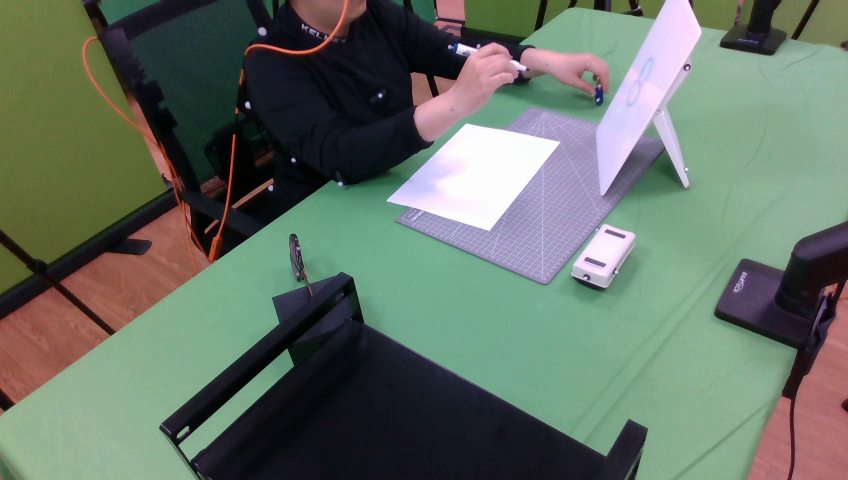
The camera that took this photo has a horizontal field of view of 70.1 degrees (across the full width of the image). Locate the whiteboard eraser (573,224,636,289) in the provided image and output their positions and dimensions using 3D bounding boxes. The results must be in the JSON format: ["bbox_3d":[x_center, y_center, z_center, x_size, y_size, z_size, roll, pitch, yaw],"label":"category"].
[{"bbox_3d":[0.267,0.025,0.891,0.055,0.042,0.113,19,47,31],"label":"whiteboard eraser"}]

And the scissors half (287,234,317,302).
[{"bbox_3d":[-0.179,0.040,0.885,0.013,0.040,0.173,-11,36,-20],"label":"scissors half"}]

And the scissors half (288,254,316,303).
[{"bbox_3d":[-0.178,0.058,0.894,0.013,0.040,0.174,-16,21,-17],"label":"scissors half"}]

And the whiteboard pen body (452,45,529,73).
[{"bbox_3d":[0.116,-0.308,1.036,0.141,0.017,0.017,13,39,-13],"label":"whiteboard pen body"}]

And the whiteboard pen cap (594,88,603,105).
[{"bbox_3d":[0.364,-0.297,1.255,0.018,0.033,0.018,-13,32,9],"label":"whiteboard pen cap"}]

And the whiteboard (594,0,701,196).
[{"bbox_3d":[0.420,-0.227,1.010,0.144,0.305,0.216,18,42,-2],"label":"whiteboard"}]
